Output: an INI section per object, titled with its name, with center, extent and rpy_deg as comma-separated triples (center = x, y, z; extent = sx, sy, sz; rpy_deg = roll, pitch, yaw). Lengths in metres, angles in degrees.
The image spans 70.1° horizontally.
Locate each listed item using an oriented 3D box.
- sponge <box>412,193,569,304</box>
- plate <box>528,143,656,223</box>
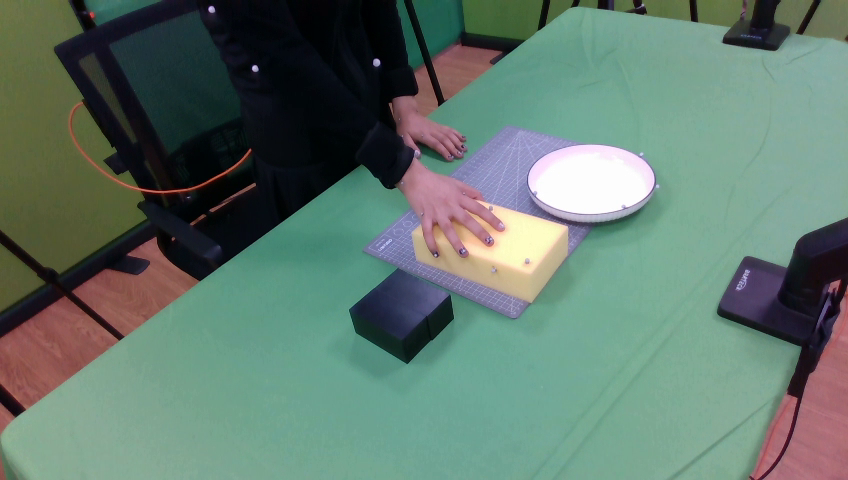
[sponge]
center = 0.101, 0.007, 0.922
extent = 0.205, 0.061, 0.118
rpy_deg = 19, 48, 29
[plate]
center = 0.281, -0.093, 1.023
extent = 0.209, 0.038, 0.208
rpy_deg = -5, 40, 5
